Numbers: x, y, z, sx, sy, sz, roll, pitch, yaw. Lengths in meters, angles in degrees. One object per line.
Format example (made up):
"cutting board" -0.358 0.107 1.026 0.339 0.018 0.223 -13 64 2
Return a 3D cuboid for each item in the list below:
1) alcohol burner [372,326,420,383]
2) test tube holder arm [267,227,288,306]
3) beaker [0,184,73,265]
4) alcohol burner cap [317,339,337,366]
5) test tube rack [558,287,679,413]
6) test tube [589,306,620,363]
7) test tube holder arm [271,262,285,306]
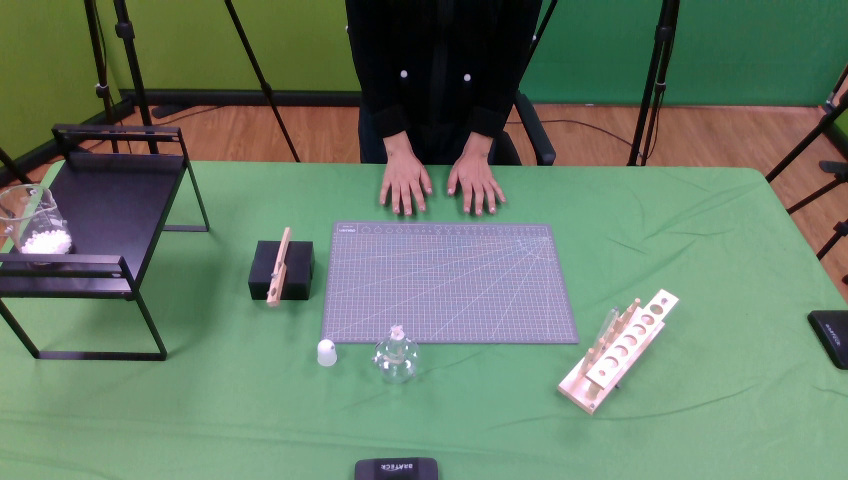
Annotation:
"alcohol burner" -0.045 0.174 0.961 0.078 0.120 0.077 1 47 -1
"test tube holder arm" -0.257 0.043 1.071 0.013 0.015 0.177 -5 46 2
"beaker" -0.556 -0.019 0.871 0.084 0.101 0.073 3 46 -2
"alcohol burner cap" -0.161 0.182 0.995 0.034 0.048 0.033 2 47 -2
"test tube rack" 0.326 0.170 1.009 0.066 0.085 0.242 36 54 27
"test tube" 0.284 0.152 0.961 0.017 0.151 0.017 2 49 -2
"test tube holder arm" -0.250 0.075 1.039 0.010 0.015 0.087 -4 46 3
